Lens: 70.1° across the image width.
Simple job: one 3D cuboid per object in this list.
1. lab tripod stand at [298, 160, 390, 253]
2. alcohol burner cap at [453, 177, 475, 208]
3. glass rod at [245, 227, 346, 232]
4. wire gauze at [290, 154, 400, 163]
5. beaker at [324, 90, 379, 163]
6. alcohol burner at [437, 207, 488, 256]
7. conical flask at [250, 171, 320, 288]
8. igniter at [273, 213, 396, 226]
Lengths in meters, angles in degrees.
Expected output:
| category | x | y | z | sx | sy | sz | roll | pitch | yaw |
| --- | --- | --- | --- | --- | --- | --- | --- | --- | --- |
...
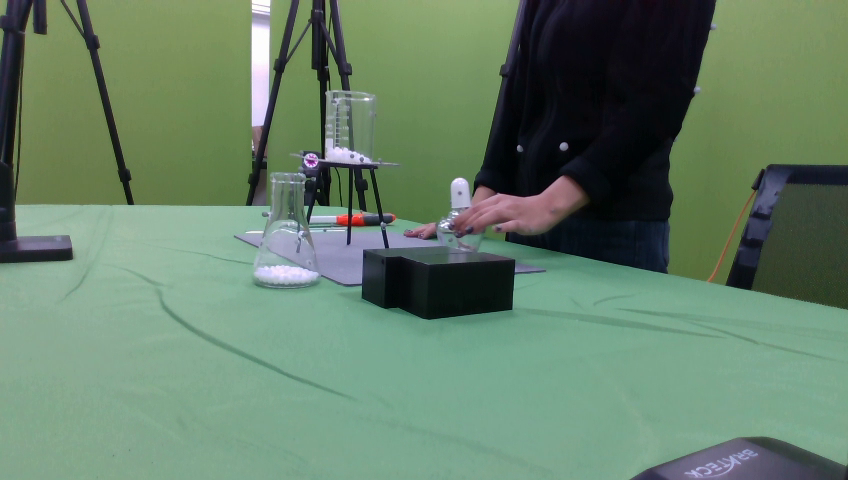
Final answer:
| category | x | y | z | sx | sy | sz | roll | pitch | yaw |
| --- | --- | --- | --- | --- | --- | --- | --- | --- | --- |
| lab tripod stand | -0.111 | -0.050 | 0.893 | 0.148 | 0.131 | 0.148 | 4 | 6 | 0 |
| alcohol burner cap | 0.058 | -0.072 | 0.910 | 0.034 | 0.048 | 0.034 | -7 | 5 | 1 |
| glass rod | -0.236 | -0.021 | 1.140 | 0.201 | 0.008 | 0.008 | -2 | 8 | -33 |
| wire gauze | -0.112 | -0.114 | 0.883 | 0.124 | 0.011 | 0.122 | 5 | 5 | 28 |
| beaker | -0.110 | -0.162 | 0.879 | 0.083 | 0.100 | 0.074 | 8 | 7 | 36 |
| alcohol burner | 0.058 | -0.036 | 0.915 | 0.078 | 0.119 | 0.078 | 1 | 6 | 0 |
| conical flask | -0.150 | -0.013 | 0.658 | 0.075 | 0.122 | 0.075 | 2 | 7 | 0 |
| igniter | -0.179 | -0.044 | 1.258 | 0.278 | 0.025 | 0.057 | -3 | -1 | -39 |
